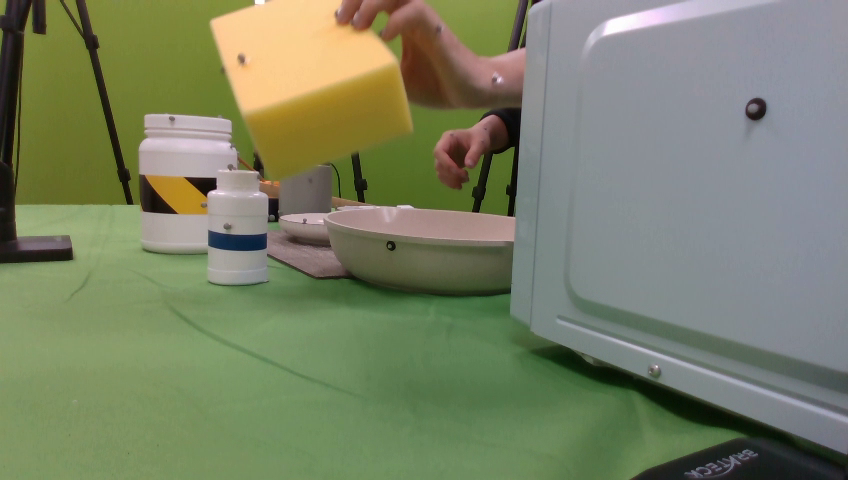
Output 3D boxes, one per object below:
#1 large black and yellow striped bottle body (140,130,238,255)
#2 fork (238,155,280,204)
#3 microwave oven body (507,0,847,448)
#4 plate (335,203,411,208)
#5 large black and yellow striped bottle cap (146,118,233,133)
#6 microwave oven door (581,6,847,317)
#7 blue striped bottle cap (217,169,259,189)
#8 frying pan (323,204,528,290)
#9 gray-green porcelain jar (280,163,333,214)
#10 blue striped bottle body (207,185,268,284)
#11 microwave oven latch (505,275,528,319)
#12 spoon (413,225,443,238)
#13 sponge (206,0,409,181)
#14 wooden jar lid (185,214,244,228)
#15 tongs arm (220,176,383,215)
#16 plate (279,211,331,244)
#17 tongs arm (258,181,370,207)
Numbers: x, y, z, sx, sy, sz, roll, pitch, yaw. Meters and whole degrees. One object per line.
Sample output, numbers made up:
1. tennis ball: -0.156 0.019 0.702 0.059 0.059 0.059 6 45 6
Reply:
1. large black and yellow striped bottle body: -0.336 -0.078 0.871 0.131 0.184 0.130 2 8 0
2. fork: -0.396 -0.143 1.486 0.028 0.018 0.208 20 -26 45
3. microwave oven body: 0.331 -0.042 0.425 0.444 0.260 0.324 -2 8 -31
4. plate: -0.089 -0.053 1.309 0.208 0.039 0.207 2 8 0
5. large black and yellow striped bottle cap: -0.333 -0.163 0.861 0.115 0.019 0.115 1 9 0
6. microwave oven door: 0.295 -0.067 0.569 0.358 0.243 0.039 -3 8 -31
7. blue striped bottle cap: -0.202 -0.066 0.657 0.044 0.020 0.044 1 10 0
8. frying pan: 0.110 -0.017 0.800 0.490 0.102 0.305 -12 16 -30
9. gray-green porcelain jar: -0.238 -0.092 1.221 0.106 0.126 0.106 2 7 0
10. blue striped bottle body: -0.204 -0.016 0.663 0.063 0.120 0.063 2 7 0
11. microwave oven latch: 0.100 0.042 0.471 0.079 0.029 0.030 -2 8 -29
12. spoon: 0.016 -0.019 1.113 0.041 0.021 0.194 -11 3 12
13. sponge: -0.107 -0.144 0.516 0.118 0.061 0.206 -23 42 -10
14. wooden jar lid: -0.404 -0.037 1.169 0.108 0.020 0.108 3 7 0
15. tongs arm: -0.285 -0.104 1.445 0.389 0.027 0.028 9 -4 -23
16. plate: -0.139 -0.022 1.021 0.209 0.038 0.209 2 8 0
17. tongs arm: -0.241 -0.095 1.373 0.387 0.026 0.050 9 0 -37
